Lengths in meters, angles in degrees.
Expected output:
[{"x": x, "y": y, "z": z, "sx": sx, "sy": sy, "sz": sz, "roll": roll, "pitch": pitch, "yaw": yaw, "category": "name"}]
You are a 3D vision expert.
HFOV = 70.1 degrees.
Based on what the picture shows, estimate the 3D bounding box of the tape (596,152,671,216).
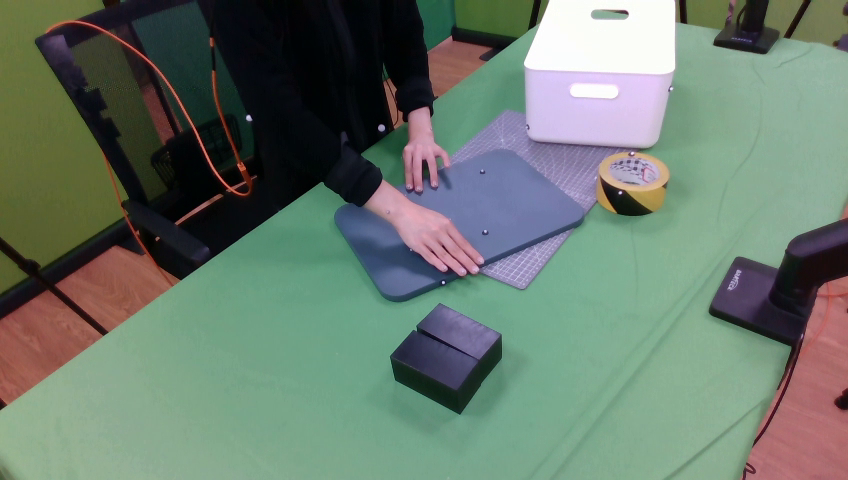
[{"x": 0.349, "y": -0.095, "z": 1.009, "sx": 0.117, "sy": 0.053, "sz": 0.116, "roll": -3, "pitch": 42, "yaw": 3, "category": "tape"}]

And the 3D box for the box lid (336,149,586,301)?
[{"x": 0.055, "y": -0.040, "z": 1.022, "sx": 0.373, "sy": 0.015, "sz": 0.261, "roll": -22, "pitch": 42, "yaw": -17, "category": "box lid"}]

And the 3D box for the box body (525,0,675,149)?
[{"x": 0.356, "y": -0.342, "z": 1.212, "sx": 0.253, "sy": 0.161, "sz": 0.363, "roll": 7, "pitch": 42, "yaw": 17, "category": "box body"}]
